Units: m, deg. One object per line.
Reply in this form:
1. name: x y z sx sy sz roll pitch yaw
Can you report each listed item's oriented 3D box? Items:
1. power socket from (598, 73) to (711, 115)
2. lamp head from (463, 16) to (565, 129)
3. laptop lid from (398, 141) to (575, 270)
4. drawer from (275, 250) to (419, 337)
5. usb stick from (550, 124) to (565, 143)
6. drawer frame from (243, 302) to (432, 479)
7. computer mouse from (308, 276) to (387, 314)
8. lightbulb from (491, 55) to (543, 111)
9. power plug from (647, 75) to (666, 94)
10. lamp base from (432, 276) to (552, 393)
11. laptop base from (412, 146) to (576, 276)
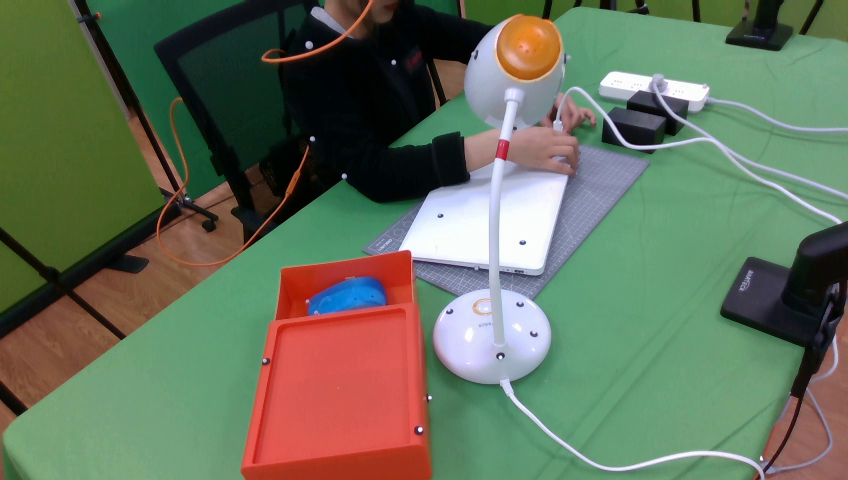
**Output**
1. power socket: 0.470 -0.303 1.248 0.225 0.033 0.072 20 49 30
2. lamp head: 0.101 -0.184 0.655 0.112 0.112 0.123 -9 1 0
3. laptop lid: 0.119 -0.078 1.042 0.240 0.013 0.356 6 42 21
4. drawer: -0.104 0.117 0.825 0.194 0.073 0.210 -8 40 1
5. usb stick: 0.253 -0.194 1.151 0.021 0.027 0.059 10 50 17
6. drawer frame: -0.096 0.185 0.738 0.202 0.083 0.212 -8 40 1
7. computer mouse: -0.113 0.089 0.881 0.117 0.041 0.062 -16 42 -1
8. lightbulb: 0.108 -0.181 0.679 0.059 0.059 0.107 -9 -2 1
9. power plug: 0.457 -0.301 1.212 0.073 0.053 0.035 -36 46 -28
10. lamp base: 0.085 0.075 0.756 0.161 0.181 0.178 -14 44 -5
11. laptop base: 0.123 -0.069 1.049 0.234 0.023 0.354 4 42 20
